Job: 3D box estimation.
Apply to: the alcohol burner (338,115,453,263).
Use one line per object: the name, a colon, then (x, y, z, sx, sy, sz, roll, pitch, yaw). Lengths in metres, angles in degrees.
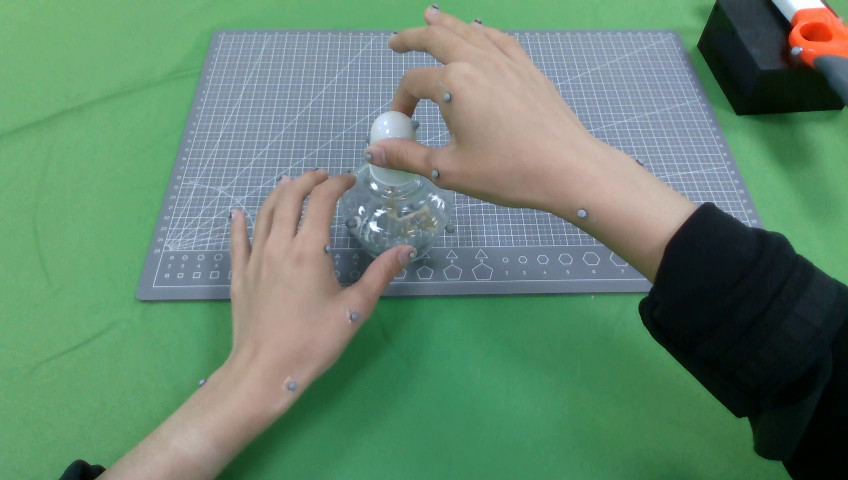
alcohol burner: (-0.019, -0.038, 0.399, 0.078, 0.120, 0.077, 0, 56, 0)

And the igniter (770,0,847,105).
igniter: (0.327, -0.182, 0.510, 0.057, 0.025, 0.273, -5, 52, -2)

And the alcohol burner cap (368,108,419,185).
alcohol burner cap: (-0.019, -0.060, 0.369, 0.034, 0.048, 0.033, 1, 58, -1)
